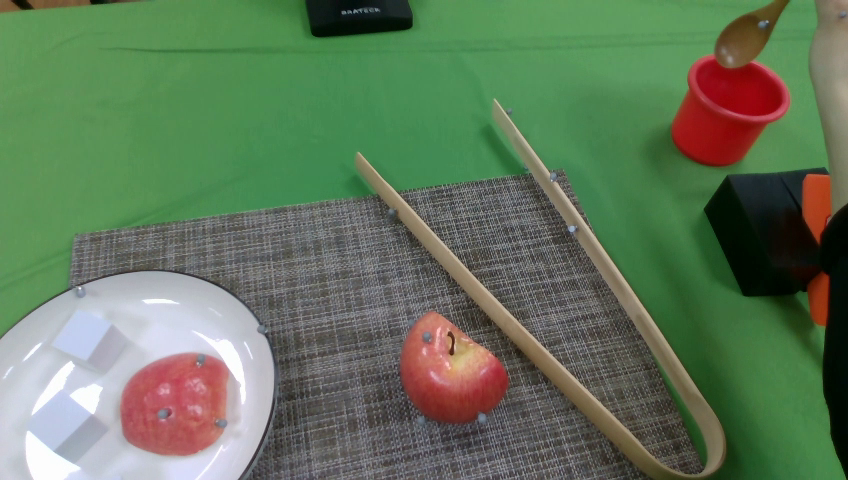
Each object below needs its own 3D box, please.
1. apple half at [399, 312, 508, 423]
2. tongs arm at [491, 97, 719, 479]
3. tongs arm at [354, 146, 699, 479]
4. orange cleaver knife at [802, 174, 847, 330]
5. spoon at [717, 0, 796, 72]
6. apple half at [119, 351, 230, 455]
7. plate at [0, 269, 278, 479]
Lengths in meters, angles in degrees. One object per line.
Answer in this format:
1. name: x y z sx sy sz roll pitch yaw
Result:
1. apple half: 0.013 0.098 0.429 0.080 0.075 0.053 37 64 16
2. tongs arm: 0.130 0.015 0.522 0.051 0.027 0.381 -18 60 -18
3. tongs arm: 0.058 0.046 0.495 0.028 0.028 0.384 -30 63 -28
4. orange cleaver knife: 0.339 0.046 0.489 0.012 0.077 0.211 -4 86 -7
5. spoon: 0.303 -0.200 0.484 0.022 0.194 0.041 -18 76 -15
6. apple half: -0.176 0.108 0.422 0.081 0.033 0.080 4 55 -6
7. plate: -0.205 0.116 0.420 0.209 0.038 0.207 2 55 -3
